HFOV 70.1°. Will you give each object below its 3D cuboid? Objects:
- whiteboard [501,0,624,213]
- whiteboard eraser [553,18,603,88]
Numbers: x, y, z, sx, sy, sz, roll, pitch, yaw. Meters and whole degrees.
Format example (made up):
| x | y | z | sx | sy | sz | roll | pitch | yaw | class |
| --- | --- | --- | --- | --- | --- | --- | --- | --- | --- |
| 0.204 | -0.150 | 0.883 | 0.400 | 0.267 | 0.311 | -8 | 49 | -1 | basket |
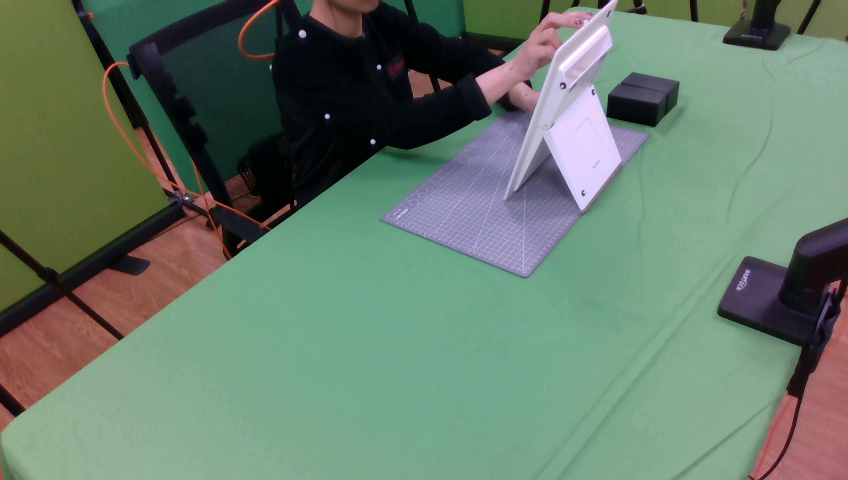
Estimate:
| x | y | z | sx | sy | sz | roll | pitch | yaw | class |
| --- | --- | --- | --- | --- | --- | --- | --- | --- | --- |
| 0.271 | -0.189 | 0.978 | 0.143 | 0.306 | 0.218 | 34 | 54 | 16 | whiteboard |
| 0.263 | -0.314 | 1.025 | 0.041 | 0.113 | 0.056 | 35 | 45 | 15 | whiteboard eraser |
